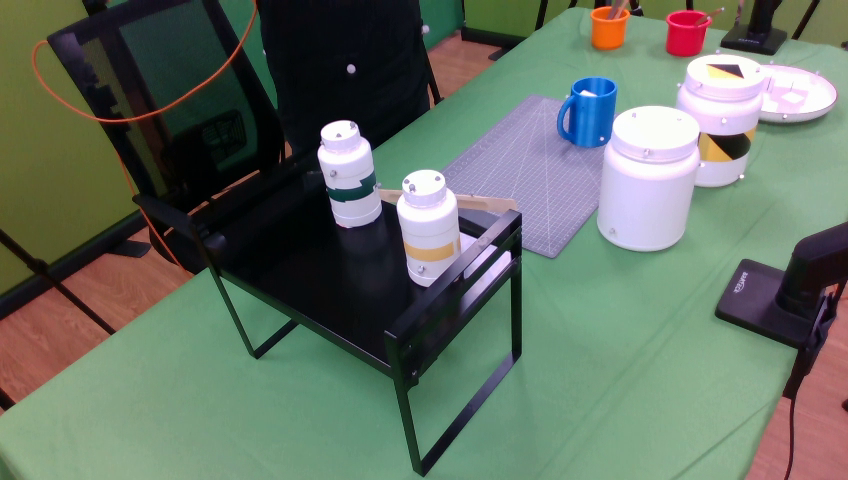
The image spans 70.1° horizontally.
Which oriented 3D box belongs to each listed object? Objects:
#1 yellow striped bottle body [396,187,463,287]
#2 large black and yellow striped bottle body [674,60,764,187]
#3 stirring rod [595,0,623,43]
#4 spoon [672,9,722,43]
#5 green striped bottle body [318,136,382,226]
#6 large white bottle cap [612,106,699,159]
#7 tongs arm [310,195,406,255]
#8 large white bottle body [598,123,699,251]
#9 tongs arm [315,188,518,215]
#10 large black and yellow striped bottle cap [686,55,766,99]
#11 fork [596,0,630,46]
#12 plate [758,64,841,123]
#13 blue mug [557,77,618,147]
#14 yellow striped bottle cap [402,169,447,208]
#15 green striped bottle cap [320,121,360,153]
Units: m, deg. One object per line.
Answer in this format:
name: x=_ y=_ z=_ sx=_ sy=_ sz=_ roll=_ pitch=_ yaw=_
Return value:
yellow striped bottle body: x=0.006 y=-0.013 z=0.638 sx=0.063 sy=0.121 sz=0.062 roll=-5 pitch=41 yaw=5
large black and yellow striped bottle body: x=0.482 y=-0.196 z=1.008 sx=0.131 sy=0.185 sz=0.130 roll=-4 pitch=41 yaw=4
stirring rod: x=0.460 y=-0.556 z=1.459 sx=0.014 sy=0.006 sz=0.176 roll=29 pitch=93 yaw=22
spoon: x=0.606 y=-0.476 z=1.345 sx=0.042 sy=0.021 sz=0.193 roll=-6 pitch=-3 yaw=-2
green striped bottle body: x=-0.090 y=-0.080 z=0.733 sx=0.063 sy=0.120 sz=0.063 roll=-4 pitch=41 yaw=4
large white bottle cap: x=0.325 y=-0.153 z=0.850 sx=0.115 sy=0.018 sz=0.114 roll=-4 pitch=41 yaw=4
tongs arm: x=-0.078 y=-0.013 z=0.944 sx=0.028 sy=0.028 sz=0.384 roll=-42 pitch=39 yaw=-23
large white bottle body: x=0.334 y=-0.090 z=0.906 sx=0.130 sy=0.185 sz=0.130 roll=-5 pitch=41 yaw=5
tongs arm: x=-0.028 y=-0.060 z=0.988 sx=0.382 sy=0.027 sz=0.051 roll=9 pitch=44 yaw=36
large black and yellow striped bottle cap: x=0.474 y=-0.258 z=0.952 sx=0.115 sy=0.019 sz=0.114 roll=-5 pitch=41 yaw=5
fork: x=0.480 y=-0.556 z=1.452 sx=0.028 sy=0.019 sz=0.207 roll=40 pitch=103 yaw=40
plate: x=0.694 y=-0.283 z=1.189 sx=0.207 sy=0.039 sz=0.206 roll=-4 pitch=40 yaw=4
blue mug: x=0.303 y=-0.237 z=1.139 sx=0.117 sy=0.106 sz=0.081 roll=-19 pitch=42 yaw=-13
yellow striped bottle cap: x=0.000 y=-0.052 z=0.604 sx=0.044 sy=0.019 sz=0.044 roll=-5 pitch=43 yaw=5
green striped bottle cap: x=-0.097 y=-0.120 z=0.699 sx=0.044 sy=0.020 sz=0.044 roll=-4 pitch=39 yaw=4
